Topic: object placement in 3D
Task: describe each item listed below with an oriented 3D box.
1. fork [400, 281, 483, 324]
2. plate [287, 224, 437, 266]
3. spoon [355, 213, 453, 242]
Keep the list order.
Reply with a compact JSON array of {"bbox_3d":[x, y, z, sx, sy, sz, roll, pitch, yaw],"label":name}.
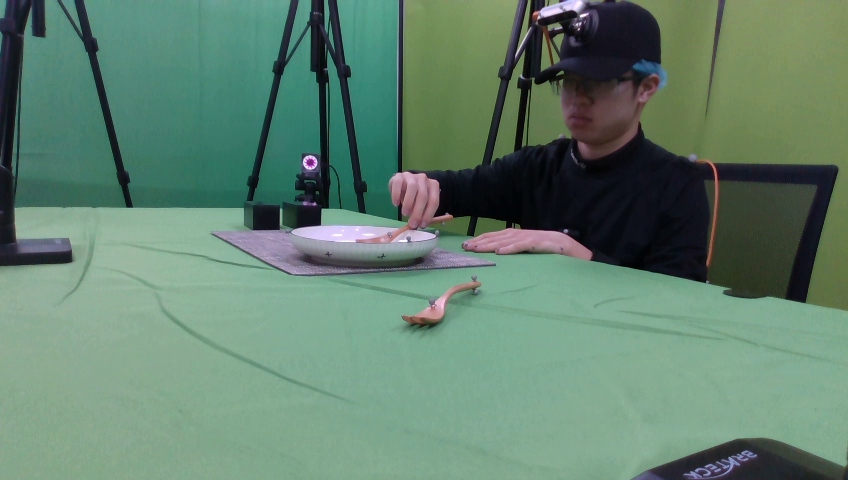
[{"bbox_3d":[0.025,0.057,0.590,0.028,0.018,0.208,-2,7,21],"label":"fork"},{"bbox_3d":[-0.086,0.007,0.852,0.208,0.039,0.207,2,7,0],"label":"plate"},{"bbox_3d":[-0.024,-0.018,0.933,0.194,0.021,0.041,-22,22,-37],"label":"spoon"}]
